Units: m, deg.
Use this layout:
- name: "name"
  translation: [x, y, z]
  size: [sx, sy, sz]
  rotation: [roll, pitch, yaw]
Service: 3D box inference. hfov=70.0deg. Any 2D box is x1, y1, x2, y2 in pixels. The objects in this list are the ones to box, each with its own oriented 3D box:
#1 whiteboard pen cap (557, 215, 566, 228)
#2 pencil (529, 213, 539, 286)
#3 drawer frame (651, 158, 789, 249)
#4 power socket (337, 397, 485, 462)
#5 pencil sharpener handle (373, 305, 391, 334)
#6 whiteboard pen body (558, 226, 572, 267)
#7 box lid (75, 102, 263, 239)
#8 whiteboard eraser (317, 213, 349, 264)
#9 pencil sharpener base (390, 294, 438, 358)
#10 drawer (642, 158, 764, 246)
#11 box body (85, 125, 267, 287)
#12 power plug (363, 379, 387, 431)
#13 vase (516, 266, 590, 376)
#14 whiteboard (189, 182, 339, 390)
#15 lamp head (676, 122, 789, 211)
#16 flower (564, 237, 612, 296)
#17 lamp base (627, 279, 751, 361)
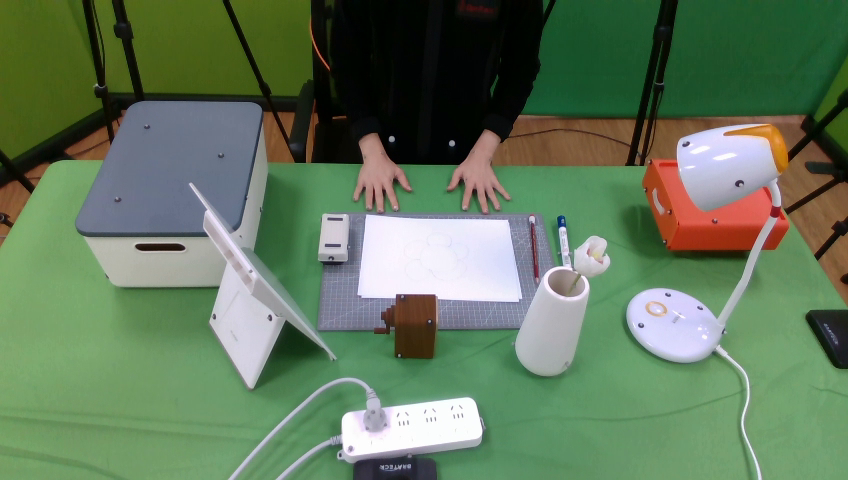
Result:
- name: "whiteboard pen cap"
  translation: [0.284, -0.035, 1.246]
  size: [0.018, 0.018, 0.033]
  rotation: [4, 52, -1]
- name: "pencil"
  translation: [0.220, 0.016, 1.205]
  size: [0.012, 0.012, 0.193]
  rotation: [5, 47, 0]
- name: "drawer frame"
  translation: [0.571, -0.075, 1.214]
  size: [0.214, 0.083, 0.200]
  rotation: [0, 45, -1]
- name: "power socket"
  translation: [-0.018, 0.285, 0.915]
  size: [0.227, 0.033, 0.071]
  rotation: [-5, 46, -8]
- name: "pencil sharpener handle"
  translation: [-0.069, 0.133, 0.989]
  size: [0.030, 0.068, 0.036]
  rotation: [1, 47, -2]
- name: "whiteboard pen body"
  translation: [0.280, 0.010, 1.208]
  size: [0.017, 0.017, 0.140]
  rotation: [3, 50, -1]
- name: "box lid"
  translation: [-0.443, -0.138, 1.094]
  size: [0.263, 0.015, 0.369]
  rotation: [-1, 47, -5]
- name: "whiteboard eraser"
  translation: [-0.175, -0.003, 1.169]
  size: [0.055, 0.042, 0.112]
  rotation: [-1, 46, -3]
- name: "pencil sharpener base"
  translation: [-0.018, 0.143, 1.000]
  size: [0.077, 0.107, 0.061]
  rotation: [1, 46, -2]
- name: "drawer"
  translation: [0.565, -0.076, 1.211]
  size: [0.212, 0.073, 0.193]
  rotation: [2, 45, -2]
- name: "box body"
  translation: [-0.446, -0.088, 1.150]
  size: [0.254, 0.161, 0.361]
  rotation: [-1, 46, -5]
- name: "power plug"
  translation: [-0.072, 0.252, 0.910]
  size: [0.035, 0.053, 0.072]
  rotation: [3, 45, -1]
- name: "vase"
  translation: [0.208, 0.132, 0.965]
  size: [0.098, 0.201, 0.097]
  rotation: [3, 46, -3]
- name: "whiteboard"
  translation: [-0.292, 0.096, 0.929]
  size: [0.144, 0.307, 0.216]
  rotation: [-37, 57, -10]
- name: "lamp head"
  translation: [0.423, -0.104, 0.819]
  size: [0.122, 0.113, 0.112]
  rotation: [-13, 33, 40]
- name: "flower"
  translation: [0.206, 0.088, 0.893]
  size: [0.038, 0.363, 0.044]
  rotation: [-17, 67, -9]
- name: "lamp base"
  translation: [0.459, 0.100, 1.027]
  size: [0.178, 0.181, 0.160]
  rotation: [27, 51, 17]
